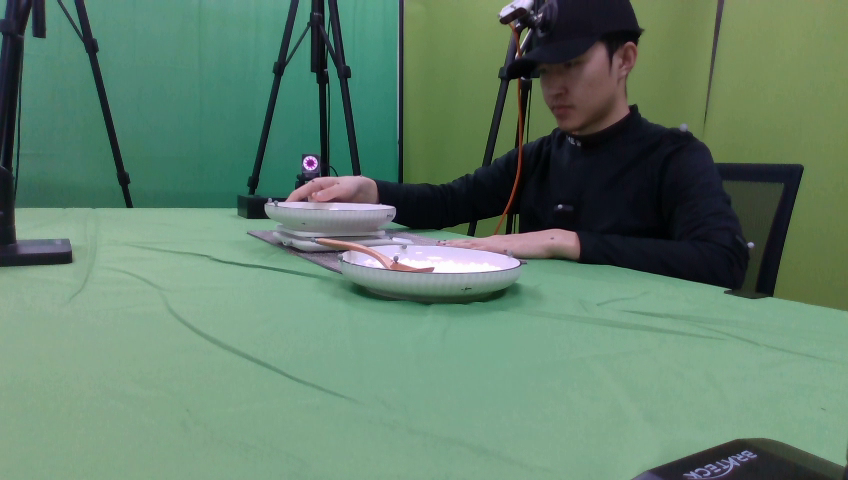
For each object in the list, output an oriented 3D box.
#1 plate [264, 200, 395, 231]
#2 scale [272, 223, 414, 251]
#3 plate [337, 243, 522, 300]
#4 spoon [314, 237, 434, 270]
[{"bbox_3d":[-0.150,-0.040,0.971,0.208,0.039,0.207,2,7,0],"label":"plate"},{"bbox_3d":[-0.131,-0.008,0.984,0.202,0.031,0.148,-2,8,-32],"label":"scale"},{"bbox_3d":[0.007,0.035,0.688,0.209,0.038,0.209,2,6,0],"label":"plate"},{"bbox_3d":[-0.064,0.015,0.695,0.192,0.021,0.042,18,17,42],"label":"spoon"}]
